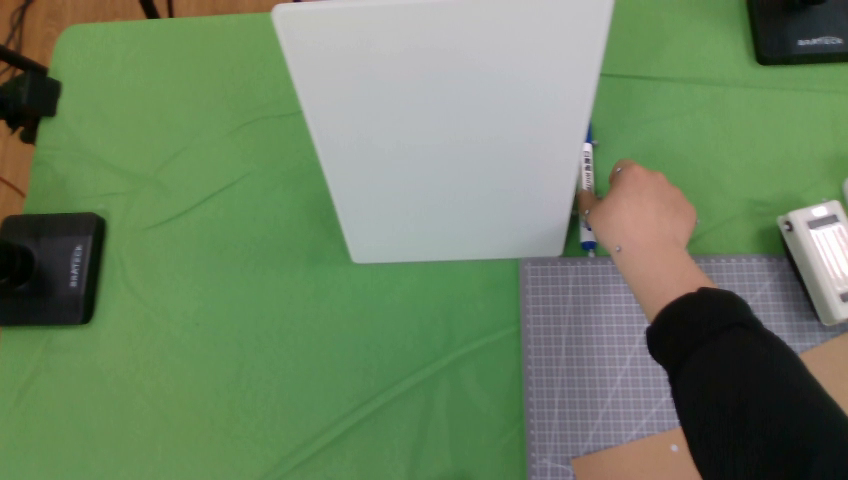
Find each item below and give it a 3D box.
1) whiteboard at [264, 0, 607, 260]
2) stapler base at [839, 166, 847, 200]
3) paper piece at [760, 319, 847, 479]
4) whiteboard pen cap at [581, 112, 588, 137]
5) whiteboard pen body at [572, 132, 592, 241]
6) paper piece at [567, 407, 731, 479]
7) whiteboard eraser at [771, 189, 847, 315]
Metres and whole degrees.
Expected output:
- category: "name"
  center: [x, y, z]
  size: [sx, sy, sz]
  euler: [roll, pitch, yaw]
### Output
- category: "whiteboard"
  center: [0.019, -0.126, 0.535]
  size: [0.217, 0.308, 0.142]
  euler: [-1, 56, 4]
- category: "stapler base"
  center: [0.486, -0.065, 0.602]
  size: [0.130, 0.024, 0.041]
  euler: [-7, 78, 0]
- category: "paper piece"
  center: [0.405, 0.144, 0.559]
  size: [0.136, 0.009, 0.137]
  euler: [-24, 77, 2]
- category: "whiteboard pen cap"
  center: [0.165, -0.125, 0.641]
  size: [0.018, 0.018, 0.033]
  euler: [-3, 74, 3]
- category: "whiteboard pen body"
  center: [0.162, -0.067, 0.629]
  size: [0.017, 0.017, 0.140]
  euler: [-1, 74, 4]
- category: "paper piece"
  center: [0.215, 0.236, 0.548]
  size: [0.135, 0.004, 0.135]
  euler: [-16, 76, -1]
- category: "whiteboard eraser"
  center: [0.380, 0.011, 0.577]
  size: [0.055, 0.042, 0.112]
  euler: [-17, 75, 1]
